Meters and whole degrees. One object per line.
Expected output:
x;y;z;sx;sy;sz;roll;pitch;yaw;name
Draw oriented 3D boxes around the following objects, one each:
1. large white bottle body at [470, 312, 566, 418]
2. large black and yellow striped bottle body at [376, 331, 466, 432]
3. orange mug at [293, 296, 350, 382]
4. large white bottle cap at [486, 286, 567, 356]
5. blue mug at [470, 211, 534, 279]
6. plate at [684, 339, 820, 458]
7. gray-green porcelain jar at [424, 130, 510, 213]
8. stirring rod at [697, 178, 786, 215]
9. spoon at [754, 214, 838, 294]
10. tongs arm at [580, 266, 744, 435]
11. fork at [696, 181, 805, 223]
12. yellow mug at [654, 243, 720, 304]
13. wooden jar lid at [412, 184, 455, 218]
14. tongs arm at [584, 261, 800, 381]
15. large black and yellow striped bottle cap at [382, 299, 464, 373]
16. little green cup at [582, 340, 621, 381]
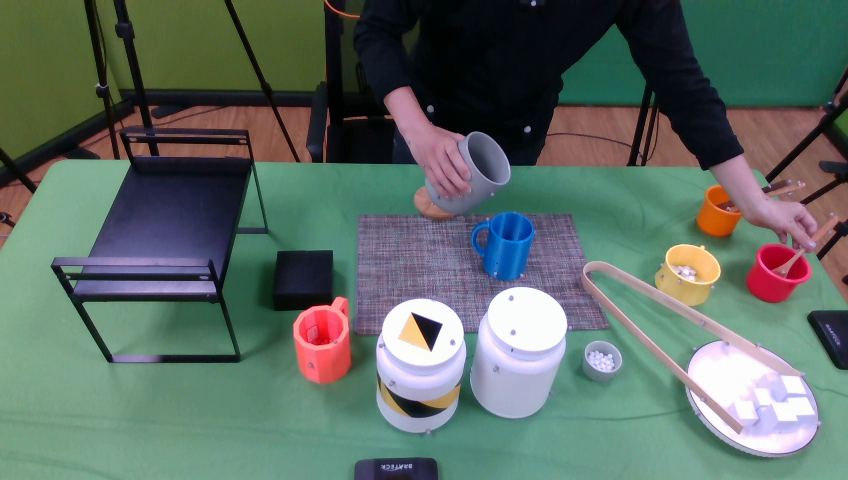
0.143;0.173;0.930;0.131;0.185;0.130;2;46;-2;large white bottle body
-0.007;0.189;0.905;0.131;0.185;0.130;2;46;-2;large black and yellow striped bottle body
-0.158;0.154;0.985;0.083;0.101;0.125;17;52;11;orange mug
0.147;0.114;0.869;0.115;0.018;0.114;3;46;-3;large white bottle cap
0.141;0.005;1.140;0.116;0.106;0.082;18;48;13;blue mug
0.523;0.256;0.982;0.208;0.039;0.206;2;46;-2;plate
0.070;-0.114;1.060;0.106;0.126;0.105;23;50;-31;gray-green porcelain jar
0.649;-0.088;1.245;0.006;0.176;0.014;29;49;-39;stirring rod
0.699;0.026;1.134;0.022;0.194;0.041;19;25;-48;spoon
0.384;0.173;1.028;0.028;0.028;0.385;-25;46;-15;tongs arm
0.659;-0.077;1.232;0.207;0.019;0.028;-26;36;34;fork
0.504;0.054;1.154;0.099;0.064;0.130;28;50;22;yellow mug
0.029;-0.083;1.276;0.108;0.021;0.107;3;43;-3;wooden jar lid
0.452;0.137;1.064;0.051;0.027;0.382;-34;50;-27;tongs arm
-0.002;0.131;0.843;0.115;0.019;0.114;2;46;-1;large black and yellow striped bottle cap
0.295;0.203;1.015;0.061;0.039;0.061;2;45;-2;little green cup
